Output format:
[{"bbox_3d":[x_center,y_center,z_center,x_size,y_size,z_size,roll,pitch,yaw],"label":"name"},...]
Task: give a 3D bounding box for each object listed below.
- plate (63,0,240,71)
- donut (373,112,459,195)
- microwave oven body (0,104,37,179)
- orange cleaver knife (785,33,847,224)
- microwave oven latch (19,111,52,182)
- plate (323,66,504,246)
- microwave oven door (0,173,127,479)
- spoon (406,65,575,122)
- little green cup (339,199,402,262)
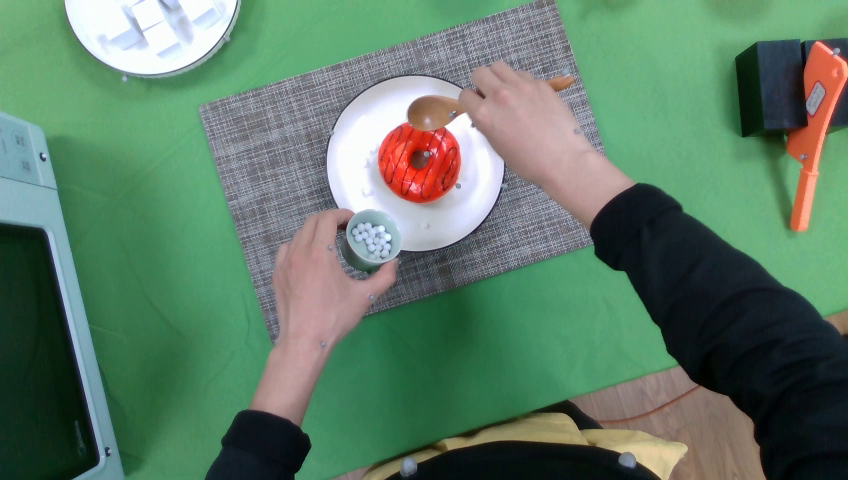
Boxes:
[{"bbox_3d":[-0.317,-0.300,0.719,0.208,0.039,0.207,0,88,0],"label":"plate"},{"bbox_3d":[-0.009,-0.100,0.697,0.099,0.048,0.099,0,91,1],"label":"donut"},{"bbox_3d":[-0.555,0.099,0.593,0.326,0.260,0.441,-15,89,-1],"label":"microwave oven body"},{"bbox_3d":[0.435,-0.123,0.690,0.012,0.076,0.213,-2,117,3],"label":"orange cleaver knife"},{"bbox_3d":[-0.455,-0.105,0.695,0.030,0.029,0.079,-14,89,-1],"label":"microwave oven latch"},{"bbox_3d":[-0.012,-0.095,0.709,0.209,0.038,0.209,0,89,0],"label":"plate"},{"bbox_3d":[-0.403,0.103,0.587,0.039,0.244,0.355,-15,88,0],"label":"microwave oven door"},{"bbox_3d":[0.058,-0.143,0.593,0.021,0.192,0.042,-55,128,-32],"label":"spoon"},{"bbox_3d":[-0.058,-0.008,0.630,0.062,0.039,0.061,16,49,-19],"label":"little green cup"}]
